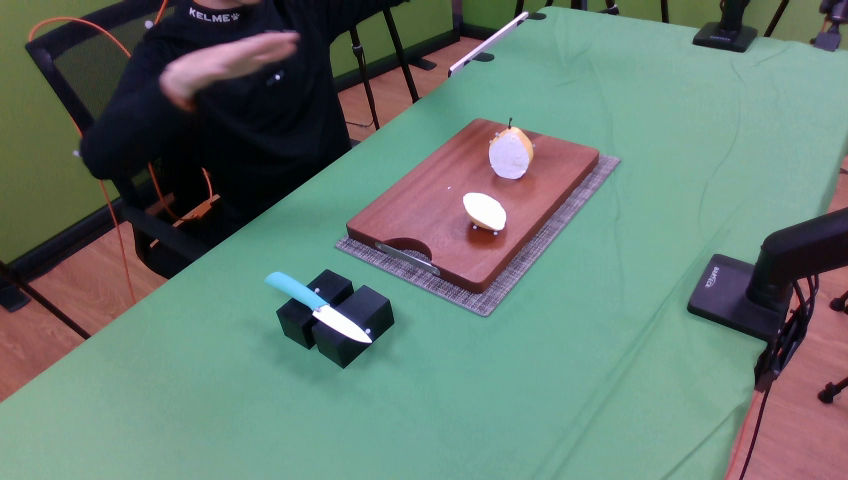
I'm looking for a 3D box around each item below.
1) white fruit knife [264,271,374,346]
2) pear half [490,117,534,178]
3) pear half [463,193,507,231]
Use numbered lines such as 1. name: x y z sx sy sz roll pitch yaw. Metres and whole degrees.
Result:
1. white fruit knife: -0.143 0.091 0.815 0.206 0.016 0.027 28 74 30
2. pear half: 0.152 -0.165 1.028 0.076 0.110 0.056 11 44 15
3. pear half: 0.094 -0.038 0.947 0.071 0.031 0.087 -9 52 -26
